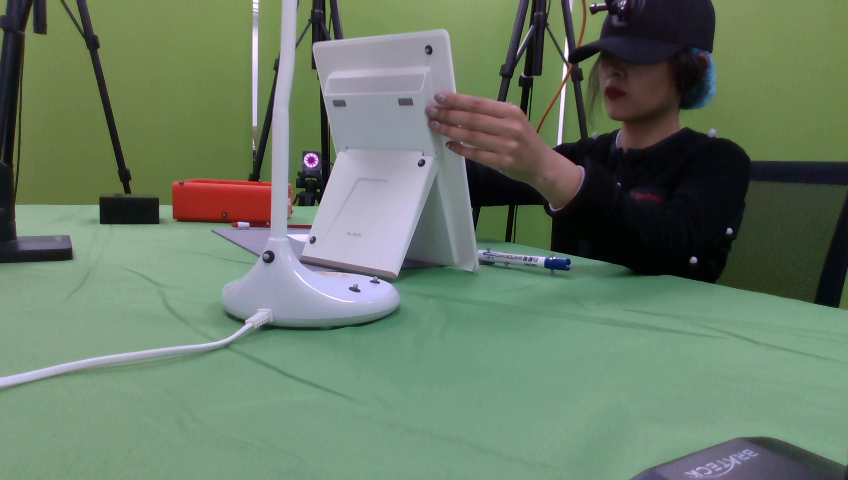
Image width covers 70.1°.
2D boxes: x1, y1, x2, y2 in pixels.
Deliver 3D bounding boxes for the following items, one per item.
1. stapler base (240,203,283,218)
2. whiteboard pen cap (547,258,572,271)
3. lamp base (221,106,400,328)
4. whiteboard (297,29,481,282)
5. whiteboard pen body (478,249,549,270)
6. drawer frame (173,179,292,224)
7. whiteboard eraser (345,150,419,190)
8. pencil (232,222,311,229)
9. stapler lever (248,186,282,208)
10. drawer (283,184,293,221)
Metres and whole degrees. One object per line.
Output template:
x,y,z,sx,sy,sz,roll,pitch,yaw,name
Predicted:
-0.349,-0.066,1.309,0.041,0.024,0.131,19,7,12,stapler base
0.176,0.032,0.790,0.033,0.018,0.018,3,6,37,whiteboard pen cap
-0.101,-0.023,0.531,0.160,0.180,0.179,4,10,10,lamp base
-0.076,-0.082,0.741,0.216,0.305,0.144,9,29,37,whiteboard
0.129,0.028,0.827,0.140,0.017,0.017,7,9,40,whiteboard pen body
-0.400,-0.086,1.300,0.214,0.082,0.201,1,8,-8,drawer frame
-0.064,-0.100,0.872,0.112,0.056,0.042,8,51,45,whiteboard eraser
-0.261,-0.025,1.141,0.195,0.012,0.012,2,7,-26,pencil
-0.341,-0.092,1.308,0.027,0.040,0.118,19,5,12,stapler lever
-0.396,-0.085,1.301,0.212,0.073,0.194,1,8,-7,drawer
